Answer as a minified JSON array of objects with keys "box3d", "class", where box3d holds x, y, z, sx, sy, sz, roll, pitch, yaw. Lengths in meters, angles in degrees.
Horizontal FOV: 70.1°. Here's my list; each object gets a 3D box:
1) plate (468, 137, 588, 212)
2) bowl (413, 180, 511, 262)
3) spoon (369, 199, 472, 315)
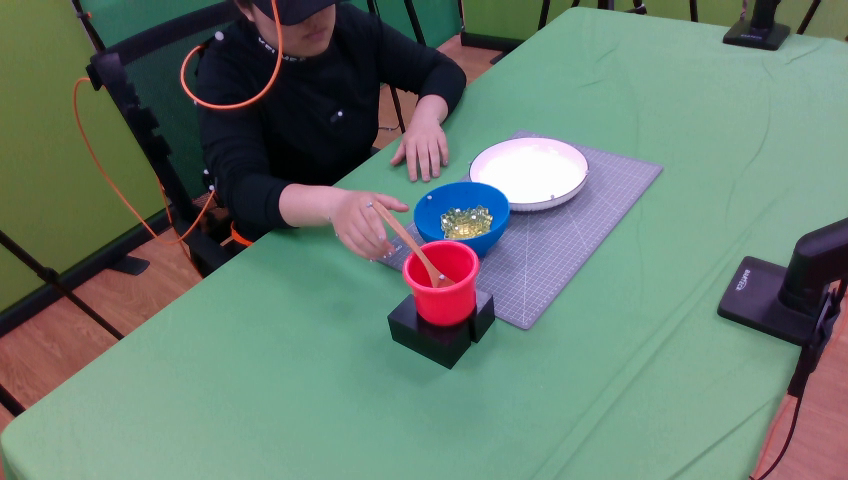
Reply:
[{"box3d":[0.182,-0.112,1.064,0.207,0.039,0.206,-5,40,5],"class":"plate"},{"box3d":[0.062,-0.019,0.945,0.151,0.077,0.150,-5,40,5],"class":"bowl"},{"box3d":[-0.006,0.020,0.787,0.042,0.021,0.194,-39,92,-28],"class":"spoon"}]
